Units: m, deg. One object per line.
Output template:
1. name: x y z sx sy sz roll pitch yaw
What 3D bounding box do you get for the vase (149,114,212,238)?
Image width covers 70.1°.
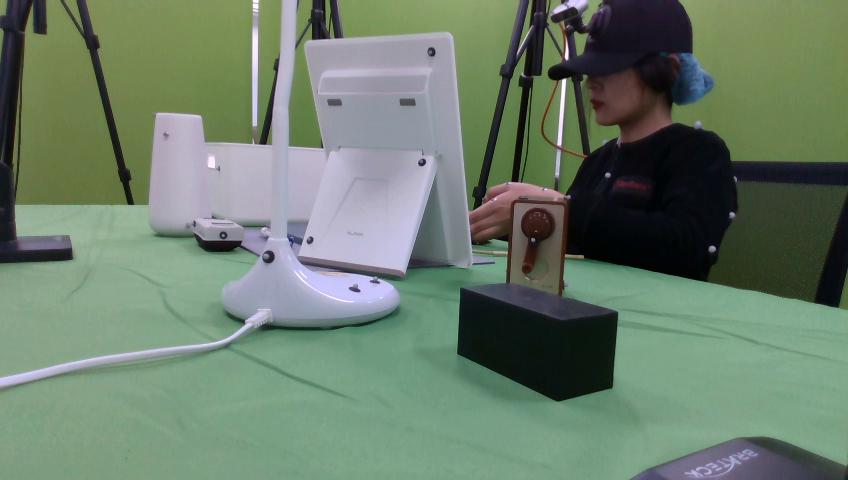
1. vase: -0.405 -0.106 1.005 0.098 0.200 0.098 2 6 0

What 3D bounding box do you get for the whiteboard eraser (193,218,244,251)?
1. whiteboard eraser: -0.307 -0.009 0.900 0.056 0.042 0.112 -4 10 -28

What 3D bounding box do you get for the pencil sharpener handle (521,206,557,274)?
1. pencil sharpener handle: 0.112 0.000 0.611 0.036 0.067 0.031 13 10 11

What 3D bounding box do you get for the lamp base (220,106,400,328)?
1. lamp base: -0.102 -0.023 0.531 0.160 0.180 0.179 4 10 10

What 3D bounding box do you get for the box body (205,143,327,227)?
1. box body: -0.276 -0.122 1.320 0.366 0.160 0.253 -2 9 -30

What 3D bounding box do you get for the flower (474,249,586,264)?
1. flower: 0.072 0.015 0.935 0.362 0.038 0.044 7 1 -2

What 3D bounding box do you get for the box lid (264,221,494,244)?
1. box lid: -0.081 -0.015 1.116 0.373 0.015 0.262 -3 10 -31

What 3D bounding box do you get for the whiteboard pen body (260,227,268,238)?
1. whiteboard pen body: -0.239 -0.005 0.964 0.017 0.017 0.140 -2 9 -28

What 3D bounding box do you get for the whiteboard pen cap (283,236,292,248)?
1. whiteboard pen cap: -0.211 0.003 0.913 0.018 0.018 0.033 -2 6 -28

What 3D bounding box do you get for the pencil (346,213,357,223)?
1. pencil: -0.161 -0.052 1.364 0.012 0.012 0.194 2 6 -2

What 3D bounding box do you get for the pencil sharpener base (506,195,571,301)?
1. pencil sharpener base: 0.126 0.007 0.662 0.061 0.107 0.077 4 8 13

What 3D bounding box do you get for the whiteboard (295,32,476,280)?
1. whiteboard: -0.076 -0.084 0.747 0.216 0.305 0.144 7 28 29
